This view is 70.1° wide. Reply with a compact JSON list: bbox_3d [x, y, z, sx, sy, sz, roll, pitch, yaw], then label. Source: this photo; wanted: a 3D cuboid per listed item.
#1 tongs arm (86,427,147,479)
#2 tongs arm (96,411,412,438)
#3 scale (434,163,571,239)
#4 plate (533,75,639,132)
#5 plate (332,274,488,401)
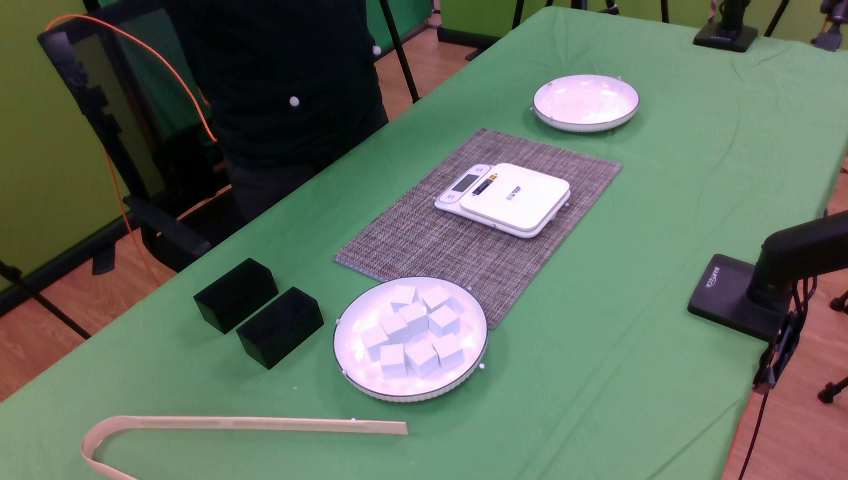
[{"bbox_3d":[-0.232,0.280,0.665,0.383,0.026,0.051,9,43,20],"label":"tongs arm"},{"bbox_3d":[-0.207,0.226,0.731,0.387,0.028,0.028,-1,44,8],"label":"tongs arm"},{"bbox_3d":[0.132,-0.075,1.025,0.199,0.032,0.149,22,48,30],"label":"scale"},{"bbox_3d":[0.327,-0.272,1.228,0.209,0.038,0.208,-4,40,4],"label":"plate"},{"bbox_3d":[-0.017,0.130,0.808,0.207,0.039,0.206,-4,41,4],"label":"plate"}]
